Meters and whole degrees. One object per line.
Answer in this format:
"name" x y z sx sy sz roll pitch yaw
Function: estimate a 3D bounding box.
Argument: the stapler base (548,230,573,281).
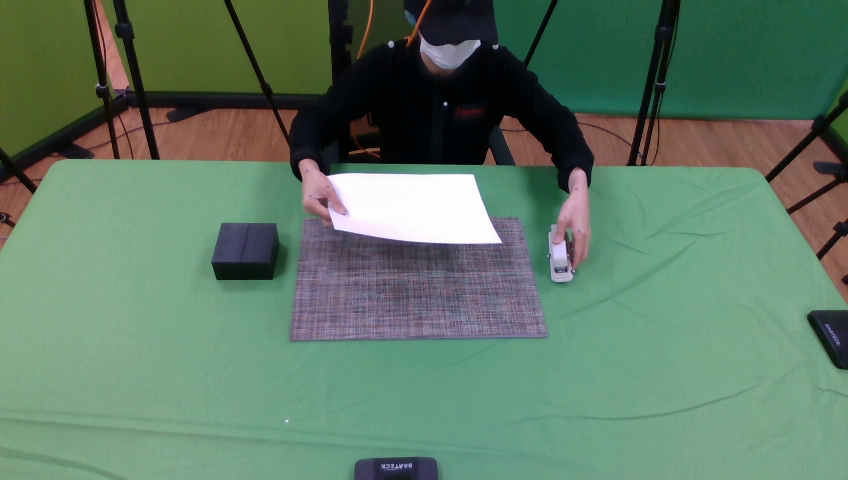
"stapler base" 0.264 0.023 1.180 0.041 0.024 0.130 -5 45 12

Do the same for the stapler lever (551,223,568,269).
"stapler lever" 0.258 0.006 1.164 0.027 0.040 0.117 -5 46 12
